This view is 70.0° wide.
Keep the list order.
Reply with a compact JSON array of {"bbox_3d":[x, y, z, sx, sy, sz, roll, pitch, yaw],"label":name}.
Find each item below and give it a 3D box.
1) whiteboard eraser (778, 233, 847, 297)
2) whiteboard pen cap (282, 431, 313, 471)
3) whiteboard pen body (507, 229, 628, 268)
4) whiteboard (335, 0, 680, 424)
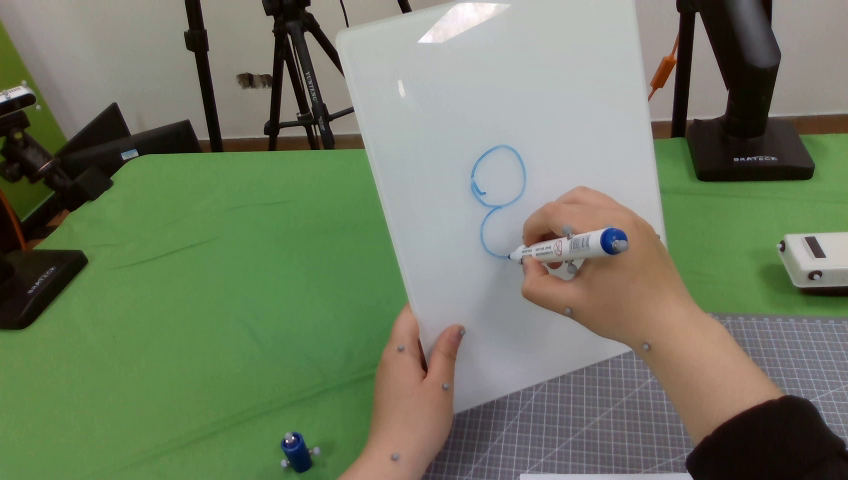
[{"bbox_3d":[0.379,0.022,0.529,0.112,0.042,0.055,-1,41,11],"label":"whiteboard eraser"},{"bbox_3d":[-0.097,0.164,0.468,0.018,0.033,0.018,-6,39,5],"label":"whiteboard pen cap"},{"bbox_3d":[0.086,0.008,0.395,0.017,0.017,0.140,-25,2,-18],"label":"whiteboard pen body"},{"bbox_3d":[0.067,-0.042,0.519,0.217,0.307,0.143,-17,18,-7],"label":"whiteboard"}]
